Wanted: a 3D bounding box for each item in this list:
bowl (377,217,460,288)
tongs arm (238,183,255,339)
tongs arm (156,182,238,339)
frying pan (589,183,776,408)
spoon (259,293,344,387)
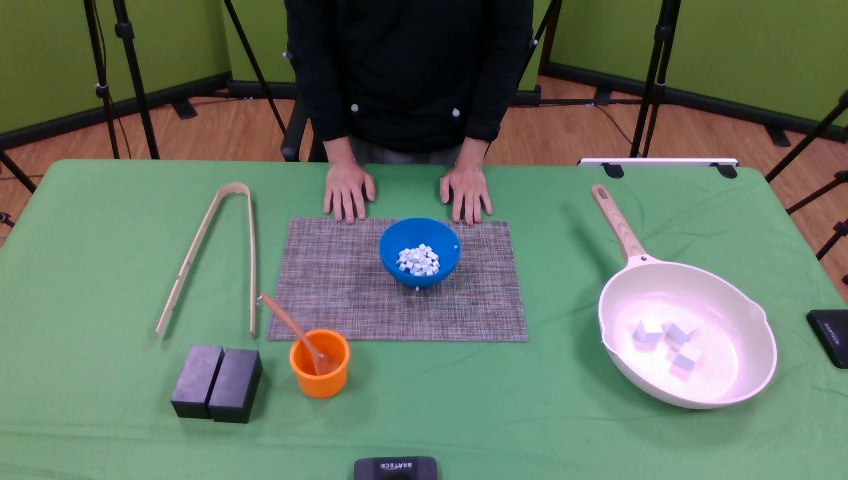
[{"bbox_3d":[-0.012,0.036,1.118,0.151,0.077,0.150,2,46,-2],"label":"bowl"},{"bbox_3d":[-0.334,0.024,1.145,0.028,0.028,0.385,-9,48,-9],"label":"tongs arm"},{"bbox_3d":[-0.415,0.023,1.134,0.051,0.026,0.382,3,45,-3],"label":"tongs arm"},{"bbox_3d":[0.412,0.079,1.096,0.307,0.103,0.484,-8,56,-13],"label":"frying pan"},{"bbox_3d":[-0.191,0.155,0.947,0.021,0.194,0.041,-12,28,51],"label":"spoon"}]
